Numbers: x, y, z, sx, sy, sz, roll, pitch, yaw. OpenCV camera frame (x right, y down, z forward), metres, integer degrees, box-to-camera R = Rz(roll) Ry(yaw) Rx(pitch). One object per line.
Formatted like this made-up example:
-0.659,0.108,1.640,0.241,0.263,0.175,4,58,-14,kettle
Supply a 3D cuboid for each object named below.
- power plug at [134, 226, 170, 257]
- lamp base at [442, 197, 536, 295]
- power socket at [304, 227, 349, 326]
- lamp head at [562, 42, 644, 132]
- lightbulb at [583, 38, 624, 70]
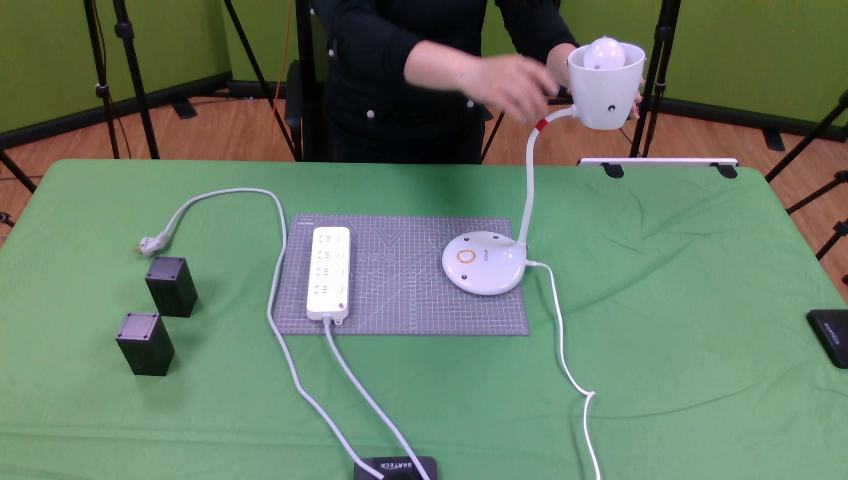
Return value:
-0.515,0.006,1.153,0.052,0.035,0.072,-6,24,6,power plug
0.130,-0.012,1.105,0.179,0.181,0.159,-1,46,-9,lamp base
-0.177,0.059,1.115,0.072,0.033,0.225,-1,46,-4,power socket
0.273,-0.230,0.937,0.112,0.123,0.112,-2,36,2,lamp head
0.275,-0.253,0.927,0.059,0.108,0.059,-9,30,5,lightbulb
